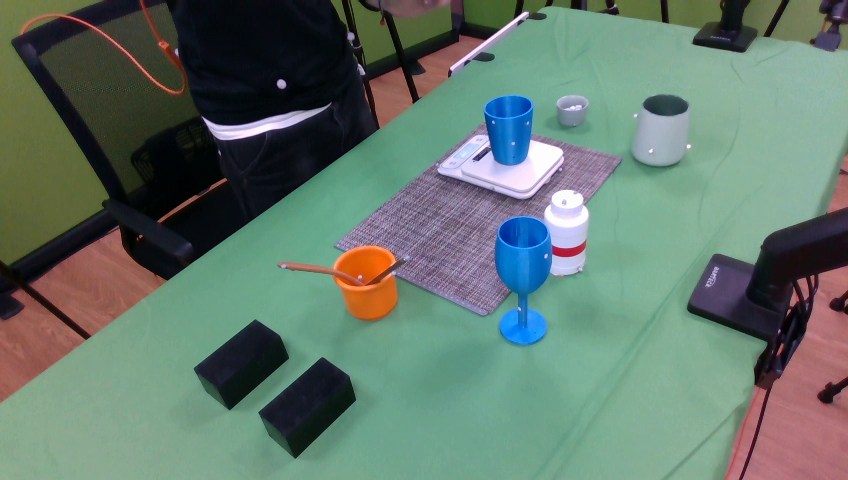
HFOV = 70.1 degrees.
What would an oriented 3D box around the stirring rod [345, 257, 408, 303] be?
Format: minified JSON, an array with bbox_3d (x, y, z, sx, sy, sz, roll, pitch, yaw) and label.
[{"bbox_3d":[-0.067,0.057,0.815,0.014,0.175,0.006,-24,82,-38],"label":"stirring rod"}]

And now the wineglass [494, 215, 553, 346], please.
[{"bbox_3d":[0.126,0.055,0.770,0.074,0.173,0.073,-4,40,4],"label":"wineglass"}]

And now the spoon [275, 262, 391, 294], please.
[{"bbox_3d":[-0.120,0.050,0.830,0.041,0.195,0.021,31,97,45],"label":"spoon"}]

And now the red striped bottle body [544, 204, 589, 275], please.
[{"bbox_3d":[0.206,-0.011,0.877,0.063,0.120,0.062,-5,41,4],"label":"red striped bottle body"}]

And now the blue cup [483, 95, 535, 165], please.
[{"bbox_3d":[0.148,-0.188,1.053,0.092,0.100,0.092,-6,39,5],"label":"blue cup"}]

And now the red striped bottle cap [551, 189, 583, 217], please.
[{"bbox_3d":[0.200,-0.052,0.843,0.044,0.018,0.044,-2,42,2],"label":"red striped bottle cap"}]

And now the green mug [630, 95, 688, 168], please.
[{"bbox_3d":[0.421,-0.201,1.081,0.092,0.105,0.125,5,42,15],"label":"green mug"}]

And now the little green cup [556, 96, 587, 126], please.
[{"bbox_3d":[0.295,-0.258,1.214,0.061,0.039,0.061,-4,42,4],"label":"little green cup"}]

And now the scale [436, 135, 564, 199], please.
[{"bbox_3d":[0.137,-0.142,1.101,0.199,0.032,0.149,22,48,30],"label":"scale"}]
